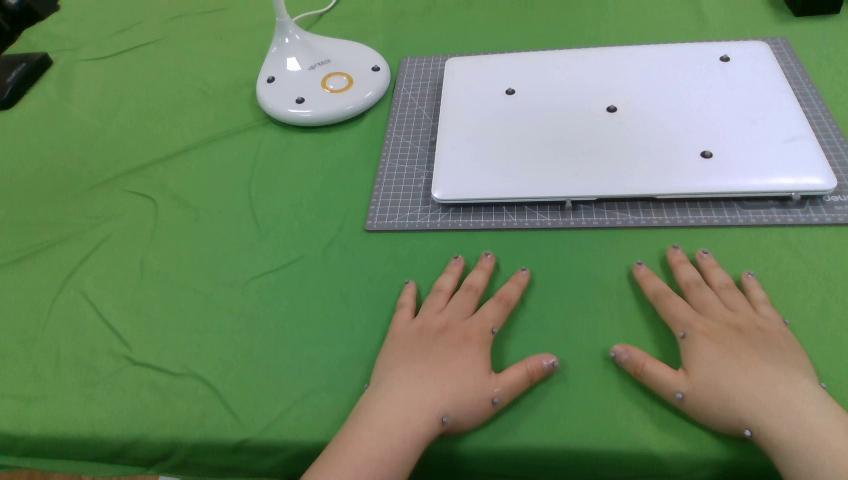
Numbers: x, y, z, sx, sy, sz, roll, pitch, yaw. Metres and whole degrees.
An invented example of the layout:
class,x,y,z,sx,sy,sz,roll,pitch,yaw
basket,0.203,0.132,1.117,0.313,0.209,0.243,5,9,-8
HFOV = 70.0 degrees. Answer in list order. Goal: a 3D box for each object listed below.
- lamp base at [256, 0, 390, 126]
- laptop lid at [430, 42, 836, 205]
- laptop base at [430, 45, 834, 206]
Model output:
class,x,y,z,sx,sy,sz,roll,pitch,yaw
lamp base,-0.138,-0.245,0.672,0.160,0.182,0.177,-39,51,-25
laptop lid,0.187,-0.124,0.607,0.356,0.013,0.239,0,50,9
laptop base,0.189,-0.118,0.617,0.354,0.023,0.233,-1,51,8
